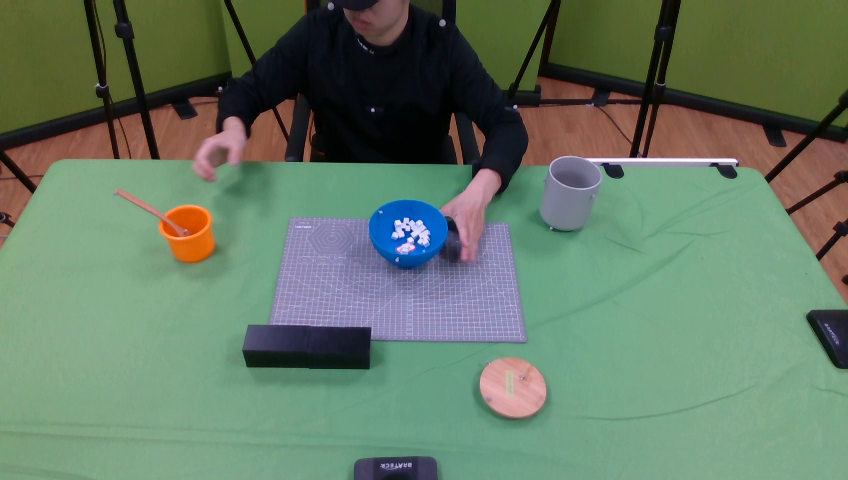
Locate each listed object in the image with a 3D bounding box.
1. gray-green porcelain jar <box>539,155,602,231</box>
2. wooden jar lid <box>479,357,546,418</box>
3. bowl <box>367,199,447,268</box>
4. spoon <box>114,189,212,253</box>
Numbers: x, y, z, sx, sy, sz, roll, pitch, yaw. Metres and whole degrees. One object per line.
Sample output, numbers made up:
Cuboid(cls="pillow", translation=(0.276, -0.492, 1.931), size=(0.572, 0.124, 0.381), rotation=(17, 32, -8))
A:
Cuboid(cls="gray-green porcelain jar", translation=(0.294, -0.091, 1.235), size=(0.106, 0.127, 0.105), rotation=(2, 46, -2))
Cuboid(cls="wooden jar lid", translation=(0.142, 0.240, 0.979), size=(0.108, 0.021, 0.107), rotation=(1, 46, -1))
Cuboid(cls="bowl", translation=(-0.033, 0.000, 1.152), size=(0.151, 0.077, 0.150), rotation=(2, 46, -2))
Cuboid(cls="spoon", translation=(-0.474, -0.037, 1.109), size=(0.021, 0.195, 0.041), rotation=(-29, 34, 31))
